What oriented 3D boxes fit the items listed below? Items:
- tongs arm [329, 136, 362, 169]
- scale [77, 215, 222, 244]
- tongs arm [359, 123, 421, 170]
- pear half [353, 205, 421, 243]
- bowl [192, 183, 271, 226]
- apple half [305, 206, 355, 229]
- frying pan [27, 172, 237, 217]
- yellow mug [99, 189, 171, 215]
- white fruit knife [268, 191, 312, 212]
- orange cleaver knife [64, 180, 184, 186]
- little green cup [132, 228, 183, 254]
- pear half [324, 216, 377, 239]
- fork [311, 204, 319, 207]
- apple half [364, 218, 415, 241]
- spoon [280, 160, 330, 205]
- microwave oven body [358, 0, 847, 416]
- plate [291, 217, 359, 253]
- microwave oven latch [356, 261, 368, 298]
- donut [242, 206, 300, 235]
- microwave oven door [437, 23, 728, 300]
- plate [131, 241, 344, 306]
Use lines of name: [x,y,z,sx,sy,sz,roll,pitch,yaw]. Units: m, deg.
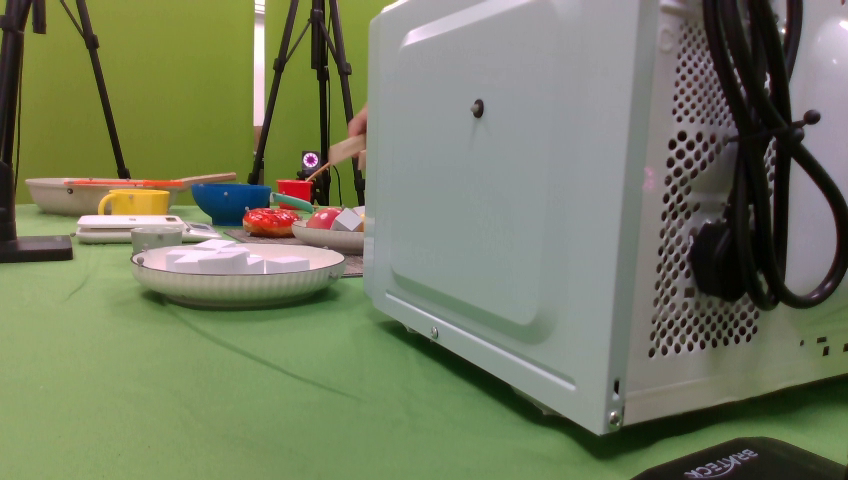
tongs arm: [-0.082,-0.158,0.973,0.028,0.028,0.388,-1,16,12]
scale: [-0.434,-0.019,0.963,0.202,0.031,0.148,-1,9,-27]
tongs arm: [-0.056,-0.156,0.969,0.050,0.026,0.385,3,17,14]
pear half: [-0.051,-0.024,0.905,0.110,0.056,0.076,2,-3,-38]
bowl: [-0.382,-0.071,1.202,0.151,0.077,0.151,3,7,0]
apple half: [-0.138,-0.024,0.917,0.081,0.053,0.074,0,11,-43]
frying pan: [-0.624,-0.118,1.387,0.305,0.102,0.490,8,17,32]
yellow mug: [-0.519,-0.055,1.080,0.099,0.064,0.131,7,9,26]
white fruit knife: [-0.364,-0.105,1.464,0.208,0.027,0.016,15,-1,-34]
orange cleaver knife: [-0.595,-0.114,1.212,0.212,0.012,0.077,-4,6,-41]
little green cup: [-0.342,0.006,0.779,0.061,0.038,0.061,2,8,0]
pear half: [-0.119,-0.023,0.996,0.088,0.031,0.070,-3,23,-28]
fork: [-0.356,-0.105,1.526,0.208,0.018,0.028,16,-5,-41]
apple half: [-0.054,-0.019,0.966,0.081,0.033,0.081,-2,11,1]
spoon: [-0.317,-0.159,1.640,0.194,0.022,0.041,-49,32,-20]
microwave oven body: [0.211,-0.047,0.475,0.444,0.260,0.324,-1,7,-28]
plate: [-0.103,-0.009,0.945,0.209,0.038,0.209,2,7,0]
microwave oven latch: [-0.019,0.033,0.530,0.079,0.029,0.030,-1,7,-26]
donut: [-0.262,-0.032,1.039,0.099,0.048,0.099,4,10,0]
microwave oven door: [0.180,-0.072,0.621,0.358,0.243,0.039,-2,8,-29]
plate: [-0.187,0.033,0.625,0.208,0.039,0.207,2,7,0]
